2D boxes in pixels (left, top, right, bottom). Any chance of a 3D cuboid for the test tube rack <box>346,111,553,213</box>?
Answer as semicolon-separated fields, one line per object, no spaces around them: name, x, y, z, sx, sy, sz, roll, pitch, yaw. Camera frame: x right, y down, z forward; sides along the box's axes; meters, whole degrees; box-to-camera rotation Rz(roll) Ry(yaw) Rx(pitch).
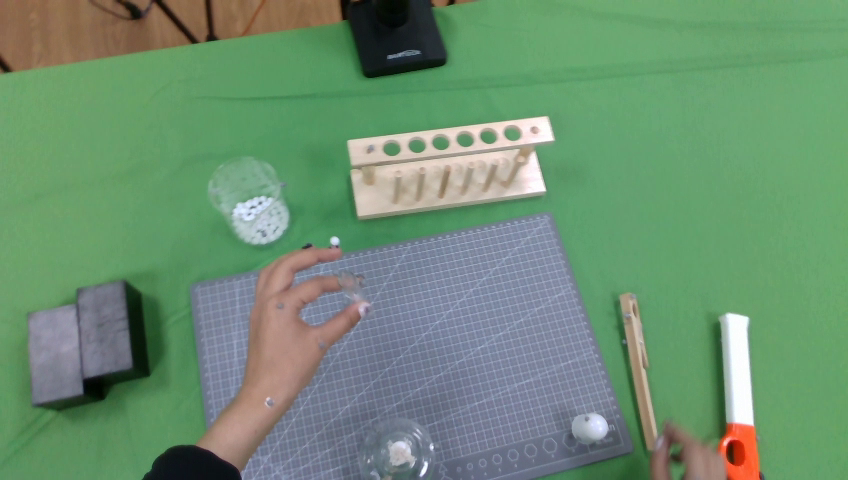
test tube rack;0.032;-0.094;0.742;0.243;0.085;0.066;-8;71;-8

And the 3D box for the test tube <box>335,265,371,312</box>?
test tube;-0.064;0.049;0.565;0.017;0.151;0.017;0;73;1

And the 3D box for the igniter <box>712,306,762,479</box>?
igniter;0.353;0.211;0.688;0.057;0.025;0.274;12;69;-10

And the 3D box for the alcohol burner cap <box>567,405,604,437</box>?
alcohol burner cap;0.180;0.198;0.667;0.034;0.048;0.033;2;68;-4

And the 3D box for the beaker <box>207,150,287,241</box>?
beaker;-0.198;-0.044;0.697;0.074;0.101;0.083;-9;71;-8

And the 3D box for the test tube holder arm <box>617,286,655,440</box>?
test tube holder arm;0.247;0.141;0.708;0.013;0.015;0.177;11;67;-37

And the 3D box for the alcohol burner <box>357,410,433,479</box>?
alcohol burner;-0.028;0.209;0.607;0.078;0.120;0.077;2;68;-5

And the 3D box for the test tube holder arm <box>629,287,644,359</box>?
test tube holder arm;0.249;0.100;0.726;0.010;0.015;0.087;13;65;-36
